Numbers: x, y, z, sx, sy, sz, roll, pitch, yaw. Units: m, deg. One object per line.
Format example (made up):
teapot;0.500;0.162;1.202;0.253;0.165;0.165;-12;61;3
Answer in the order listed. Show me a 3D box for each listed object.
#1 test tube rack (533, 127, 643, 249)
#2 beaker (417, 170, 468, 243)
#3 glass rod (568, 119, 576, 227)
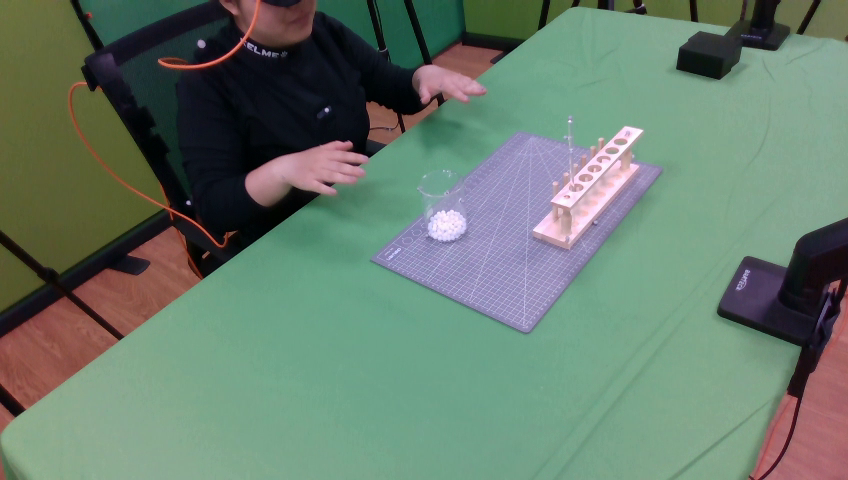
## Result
test tube rack;0.271;-0.094;0.989;0.066;0.085;0.243;23;50;33
beaker;0.034;-0.054;0.976;0.073;0.101;0.084;9;42;20
glass rod;0.219;-0.093;0.894;0.008;0.201;0.008;-8;43;8
